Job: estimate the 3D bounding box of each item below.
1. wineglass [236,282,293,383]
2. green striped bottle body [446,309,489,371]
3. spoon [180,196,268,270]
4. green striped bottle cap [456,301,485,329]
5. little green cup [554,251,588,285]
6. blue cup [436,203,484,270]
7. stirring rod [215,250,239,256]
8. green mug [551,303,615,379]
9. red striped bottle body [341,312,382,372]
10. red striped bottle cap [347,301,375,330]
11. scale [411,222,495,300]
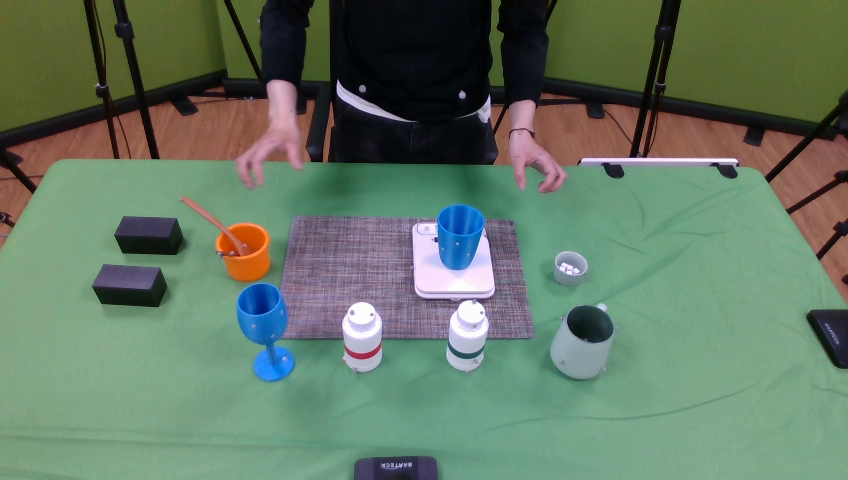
[{"bbox_3d":[-0.243,0.143,0.934,0.074,0.173,0.073,2,46,-2],"label":"wineglass"},{"bbox_3d":[0.070,0.155,0.984,0.063,0.120,0.063,2,46,-2],"label":"green striped bottle body"},{"bbox_3d":[-0.360,-0.014,1.094,0.021,0.194,0.041,-27,26,31],"label":"spoon"},{"bbox_3d":[0.073,0.116,0.943,0.044,0.020,0.044,3,46,-3],"label":"green striped bottle cap"},{"bbox_3d":[0.276,0.055,1.151,0.061,0.039,0.061,1,46,-1],"label":"little green cup"},{"bbox_3d":[0.061,-0.001,1.099,0.093,0.101,0.092,2,44,-2],"label":"blue cup"},{"bbox_3d":[-0.340,0.024,1.059,0.014,0.176,0.006,17,86,-6],"label":"stirring rod"},{"bbox_3d":[0.271,0.157,1.007,0.092,0.105,0.125,27,50,21],"label":"green mug"},{"bbox_3d":[-0.100,0.154,0.972,0.063,0.120,0.062,2,46,-1],"label":"red striped bottle body"},{"bbox_3d":[-0.097,0.116,0.934,0.044,0.018,0.044,2,49,-2],"label":"red striped bottle cap"},{"bbox_3d":[0.052,0.031,1.158,0.149,0.032,0.199,1,46,-4],"label":"scale"}]
